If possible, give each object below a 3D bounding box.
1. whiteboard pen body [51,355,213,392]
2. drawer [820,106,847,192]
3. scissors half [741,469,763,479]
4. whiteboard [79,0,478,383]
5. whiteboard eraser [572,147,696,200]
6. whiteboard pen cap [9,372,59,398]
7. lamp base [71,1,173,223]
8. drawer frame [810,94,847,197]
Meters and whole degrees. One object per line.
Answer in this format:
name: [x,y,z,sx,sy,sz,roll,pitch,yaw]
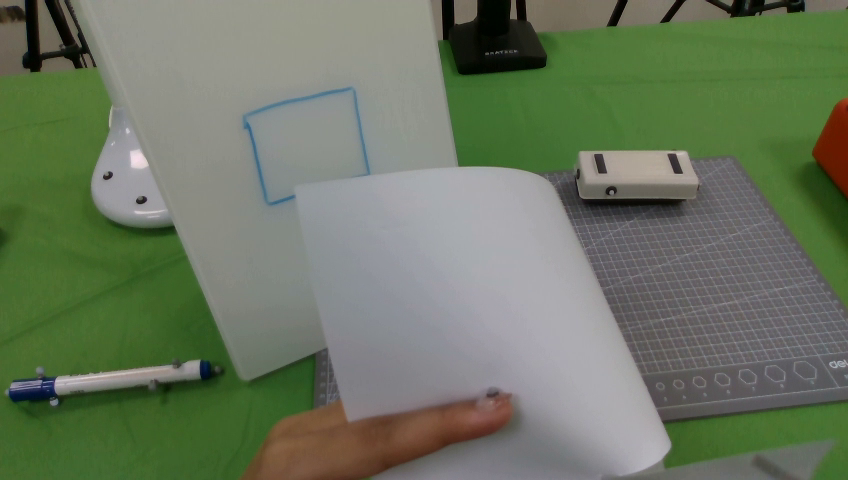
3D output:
whiteboard pen body: [-0.239,0.106,0.475,0.141,0.017,0.017,-6,45,-8]
drawer: [0.518,-0.047,0.557,0.194,0.074,0.209,-4,45,0]
scissors half: [0.174,0.122,0.183,0.174,0.040,0.013,33,97,10]
whiteboard: [-0.102,-0.080,0.496,0.217,0.308,0.142,-21,29,-16]
whiteboard eraser: [0.209,-0.066,0.612,0.112,0.042,0.055,0,44,2]
whiteboard pen cap: [-0.298,0.112,0.467,0.033,0.018,0.018,-4,45,-10]
lamp base: [-0.286,-0.134,0.602,0.178,0.182,0.160,25,51,27]
drawer frame: [0.517,-0.052,0.561,0.202,0.083,0.211,-5,45,-1]
